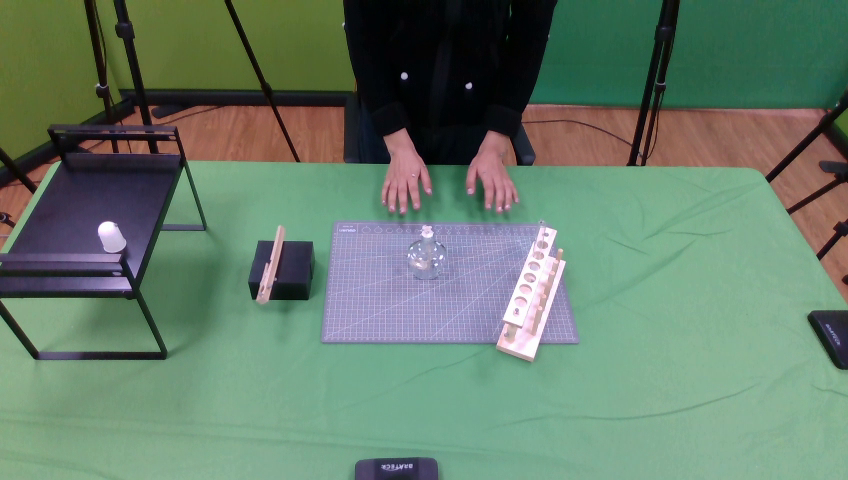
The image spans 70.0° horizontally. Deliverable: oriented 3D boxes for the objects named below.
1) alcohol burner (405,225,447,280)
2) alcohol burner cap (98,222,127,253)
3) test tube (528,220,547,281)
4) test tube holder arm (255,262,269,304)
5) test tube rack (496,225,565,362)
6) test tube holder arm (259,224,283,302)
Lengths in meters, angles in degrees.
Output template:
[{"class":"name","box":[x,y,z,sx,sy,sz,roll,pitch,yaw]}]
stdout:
[{"class":"alcohol burner","box":[0.004,0.017,1.115,0.078,0.120,0.077,1,47,-1]},{"class":"alcohol burner cap","box":[-0.468,-0.007,0.904,0.034,0.048,0.033,3,45,-3]},{"class":"test tube","box":[0.200,0.022,1.076,0.017,0.151,0.017,-1,47,1]},{"class":"test tube holder arm","box":[-0.274,0.072,1.042,0.010,0.015,0.087,-21,42,22]},{"class":"test tube rack","box":[0.200,0.089,1.081,0.066,0.085,0.241,19,48,13]},{"class":"test tube holder arm","box":[-0.268,0.038,1.071,0.013,0.015,0.177,-21,41,21]}]
